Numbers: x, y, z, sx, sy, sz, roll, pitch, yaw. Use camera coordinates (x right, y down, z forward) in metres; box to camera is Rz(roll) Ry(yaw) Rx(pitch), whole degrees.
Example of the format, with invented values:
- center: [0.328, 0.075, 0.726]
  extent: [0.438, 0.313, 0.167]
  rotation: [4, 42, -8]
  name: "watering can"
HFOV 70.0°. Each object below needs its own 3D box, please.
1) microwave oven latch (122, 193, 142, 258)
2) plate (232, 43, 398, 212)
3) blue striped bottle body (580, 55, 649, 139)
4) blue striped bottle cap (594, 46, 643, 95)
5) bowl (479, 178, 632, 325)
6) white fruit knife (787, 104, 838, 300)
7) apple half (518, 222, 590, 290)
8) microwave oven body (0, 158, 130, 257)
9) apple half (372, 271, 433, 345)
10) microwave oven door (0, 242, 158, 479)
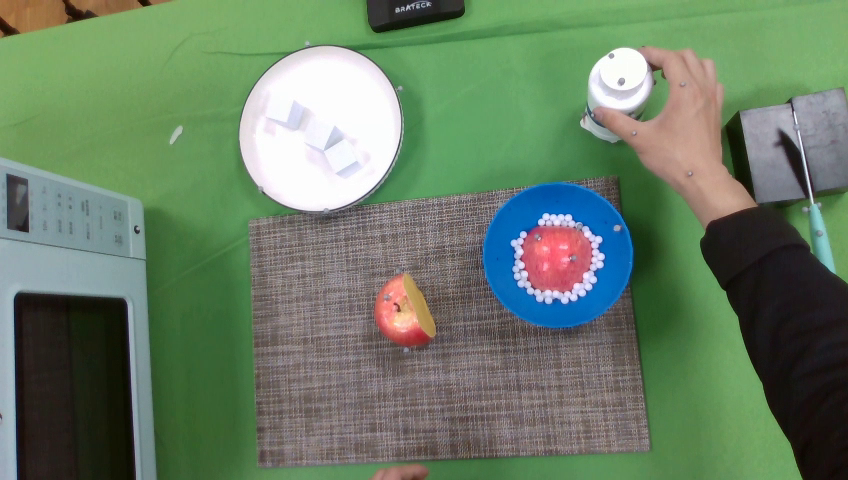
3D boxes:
- center: [-0.373, -0.017, 0.757]
  extent: [0.030, 0.029, 0.079]
  rotation: [-7, 83, 10]
  name: "microwave oven latch"
- center: [-0.131, -0.135, 0.742]
  extent: [0.207, 0.039, 0.207]
  rotation: [-1, 84, 10]
  name: "plate"
- center: [0.198, -0.154, 0.635]
  extent: [0.063, 0.121, 0.063]
  rotation: [-2, 80, 11]
  name: "blue striped bottle body"
- center: [0.188, -0.164, 0.586]
  extent: [0.044, 0.021, 0.044]
  rotation: [-2, 81, 14]
  name: "blue striped bottle cap"
- center: [0.138, 0.015, 0.648]
  extent: [0.151, 0.077, 0.151]
  rotation: [-1, 83, 12]
  name: "bowl"
- center: [0.385, -0.035, 0.606]
  extent: [0.016, 0.027, 0.208]
  rotation: [-14, 98, 27]
  name: "white fruit knife"
- center: [0.138, 0.016, 0.644]
  extent: [0.081, 0.033, 0.081]
  rotation: [-2, 82, 11]
  name: "apple half"
- center: [-0.516, 0.165, 0.666]
  extent: [0.325, 0.261, 0.440]
  rotation: [-8, 83, 9]
  name: "microwave oven body"
- center: [-0.029, 0.081, 0.677]
  extent: [0.053, 0.075, 0.080]
  rotation: [-26, 83, 11]
  name: "apple half"
- center: [-0.370, 0.186, 0.631]
  extent: [0.039, 0.245, 0.354]
  rotation: [-8, 82, 10]
  name: "microwave oven door"
